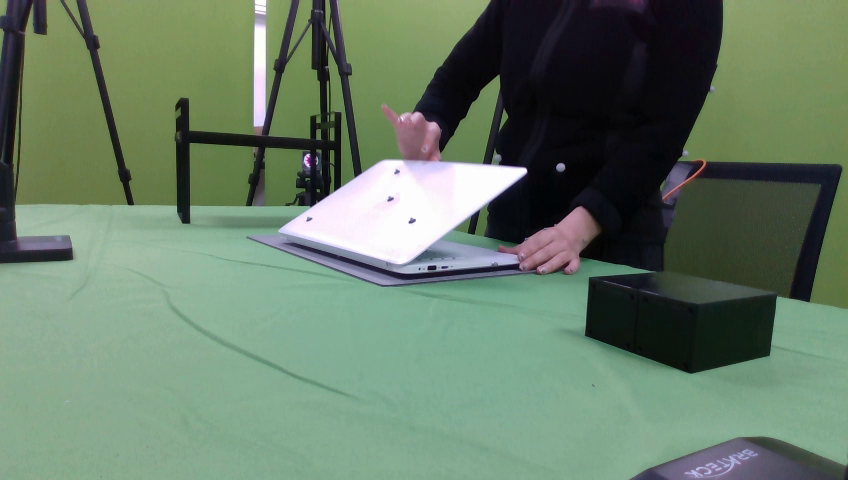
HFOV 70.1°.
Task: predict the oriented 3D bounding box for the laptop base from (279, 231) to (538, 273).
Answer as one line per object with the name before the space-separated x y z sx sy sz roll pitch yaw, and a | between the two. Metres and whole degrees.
laptop base | -0.037 0.013 0.895 0.237 0.023 0.352 2 6 -38

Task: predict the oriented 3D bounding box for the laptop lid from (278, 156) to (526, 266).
laptop lid | -0.049 -0.059 0.873 0.242 0.013 0.355 -38 29 -25
